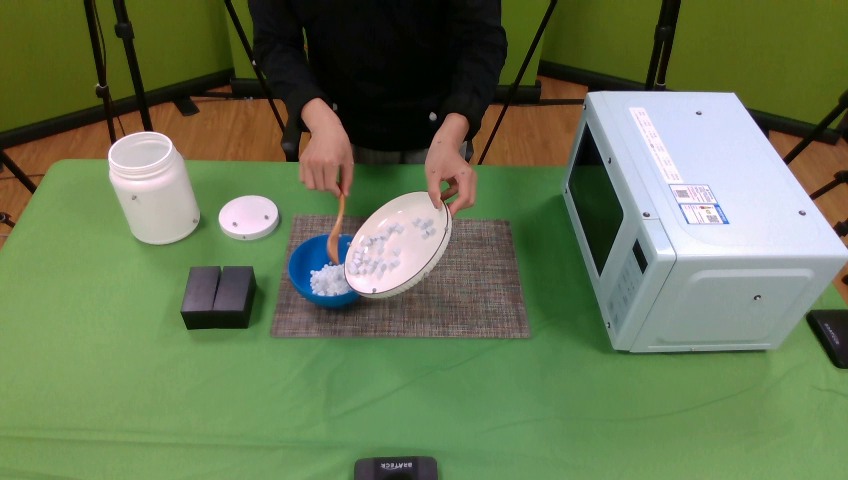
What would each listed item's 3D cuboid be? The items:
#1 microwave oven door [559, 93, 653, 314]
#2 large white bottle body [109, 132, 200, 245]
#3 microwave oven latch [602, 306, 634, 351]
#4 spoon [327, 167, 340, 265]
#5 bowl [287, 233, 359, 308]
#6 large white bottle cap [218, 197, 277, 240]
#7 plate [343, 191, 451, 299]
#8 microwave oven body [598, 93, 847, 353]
[{"bbox_3d":[0.327,-0.075,1.123,0.039,0.245,0.353,-1,46,-5],"label":"microwave oven door"},{"bbox_3d":[-0.506,-0.097,1.141,0.131,0.185,0.130,2,46,-2],"label":"large white bottle body"},{"bbox_3d":[0.332,0.153,1.044,0.030,0.029,0.078,0,45,-4],"label":"microwave oven latch"},{"bbox_3d":[-0.154,-0.044,1.041,0.021,0.042,0.192,-6,61,6],"label":"spoon"},{"bbox_3d":[-0.165,0.068,1.078,0.151,0.077,0.150,3,45,-3],"label":"bowl"},{"bbox_3d":[-0.354,-0.045,1.220,0.115,0.018,0.114,2,45,-2],"label":"large white bottle cap"},{"bbox_3d":[-0.042,0.011,0.994,0.209,0.038,0.208,-24,42,24],"label":"plate"},{"bbox_3d":[0.475,-0.041,1.109,0.326,0.261,0.438,-1,45,-4],"label":"microwave oven body"}]
